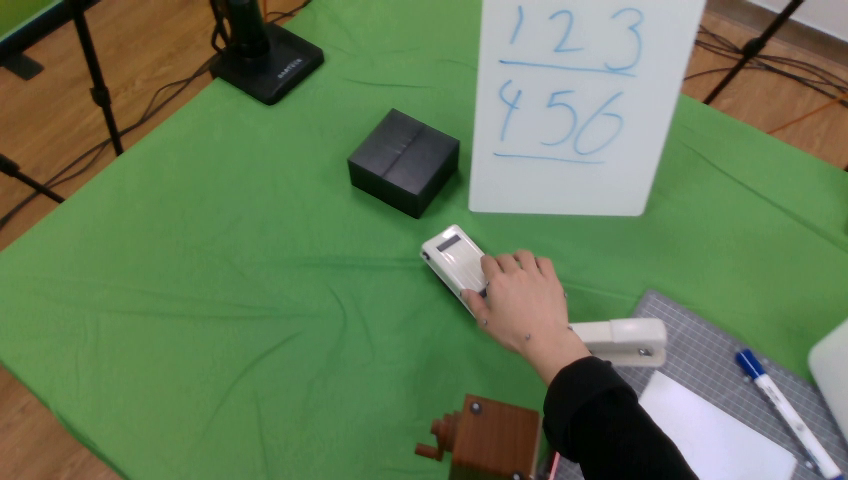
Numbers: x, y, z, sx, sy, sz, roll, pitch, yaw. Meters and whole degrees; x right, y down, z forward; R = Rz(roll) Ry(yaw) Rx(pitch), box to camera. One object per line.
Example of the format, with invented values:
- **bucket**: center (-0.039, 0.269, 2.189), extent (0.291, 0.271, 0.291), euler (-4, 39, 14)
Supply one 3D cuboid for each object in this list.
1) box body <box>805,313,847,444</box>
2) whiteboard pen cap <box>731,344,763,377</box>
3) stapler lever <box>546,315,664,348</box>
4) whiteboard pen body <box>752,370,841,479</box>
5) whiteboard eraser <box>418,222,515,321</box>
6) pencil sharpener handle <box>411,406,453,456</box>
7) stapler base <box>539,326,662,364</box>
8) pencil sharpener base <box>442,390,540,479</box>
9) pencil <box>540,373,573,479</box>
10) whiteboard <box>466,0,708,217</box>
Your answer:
- **box body**: center (0.552, 0.204, 0.524), extent (0.254, 0.161, 0.360), euler (-9, 60, -7)
- **whiteboard pen cap**: center (0.345, 0.129, 0.645), extent (0.018, 0.018, 0.033), euler (-20, 60, -12)
- **stapler lever**: center (0.189, 0.096, 0.631), extent (0.118, 0.040, 0.026), euler (0, 56, 2)
- **whiteboard pen body**: center (0.368, 0.174, 0.616), extent (0.017, 0.017, 0.139), euler (-20, 60, -12)
- **whiteboard eraser**: center (0.047, 0.036, 0.684), extent (0.055, 0.042, 0.112), euler (-34, 67, -17)
- **pencil sharpener handle**: center (0.006, 0.174, 0.548), extent (0.030, 0.068, 0.035), euler (12, 42, 7)
- **stapler base**: center (0.191, 0.109, 0.652), extent (0.130, 0.024, 0.041), euler (0, 56, 3)
- **pencil sharpener base**: center (0.057, 0.187, 0.556), extent (0.076, 0.108, 0.061), euler (12, 60, 7)
- **pencil**: center (0.123, 0.217, 0.595), extent (0.012, 0.012, 0.193), euler (19, 60, 10)
- **whiteboard**: center (0.166, -0.192, 0.704), extent (0.217, 0.308, 0.142), euler (2, 40, 1)
